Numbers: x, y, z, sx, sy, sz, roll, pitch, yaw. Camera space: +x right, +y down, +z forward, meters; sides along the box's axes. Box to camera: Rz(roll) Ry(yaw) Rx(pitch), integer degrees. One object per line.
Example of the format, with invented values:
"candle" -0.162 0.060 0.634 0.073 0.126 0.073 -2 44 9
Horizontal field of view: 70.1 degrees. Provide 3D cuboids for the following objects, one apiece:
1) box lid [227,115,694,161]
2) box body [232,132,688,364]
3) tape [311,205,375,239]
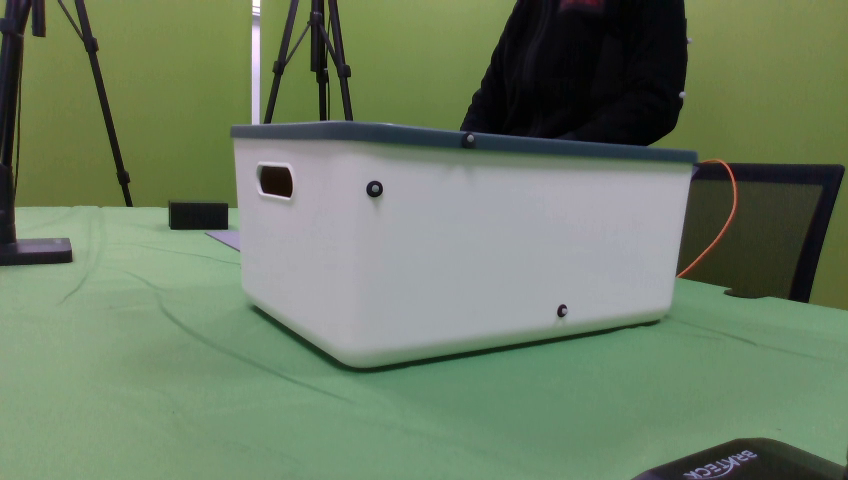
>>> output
"box lid" 0.032 -0.086 0.553 0.373 0.015 0.262 -2 8 -33
"box body" 0.031 -0.013 0.563 0.366 0.160 0.253 -3 8 -33
"tape" -0.145 -0.034 1.097 0.117 0.052 0.117 3 8 0
